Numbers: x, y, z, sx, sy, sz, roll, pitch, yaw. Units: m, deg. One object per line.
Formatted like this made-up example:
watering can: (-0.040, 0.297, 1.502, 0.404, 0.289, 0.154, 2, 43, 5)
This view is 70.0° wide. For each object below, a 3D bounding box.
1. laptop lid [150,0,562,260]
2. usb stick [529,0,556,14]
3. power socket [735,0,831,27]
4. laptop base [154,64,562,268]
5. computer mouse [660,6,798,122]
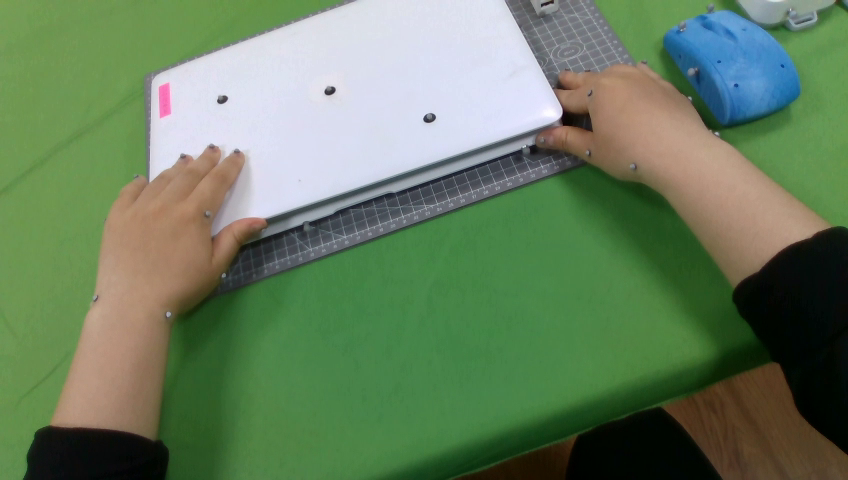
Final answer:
laptop lid: (-0.083, -0.131, 0.542, 0.357, 0.013, 0.239, -18, 56, 3)
usb stick: (0.106, -0.244, 0.575, 0.021, 0.027, 0.058, -18, 56, 6)
power socket: (0.288, -0.279, 0.549, 0.072, 0.033, 0.224, -17, 58, 5)
laptop base: (-0.080, -0.124, 0.559, 0.354, 0.023, 0.233, -19, 62, 2)
computer mouse: (0.240, -0.147, 0.483, 0.063, 0.041, 0.116, -20, 54, 5)
